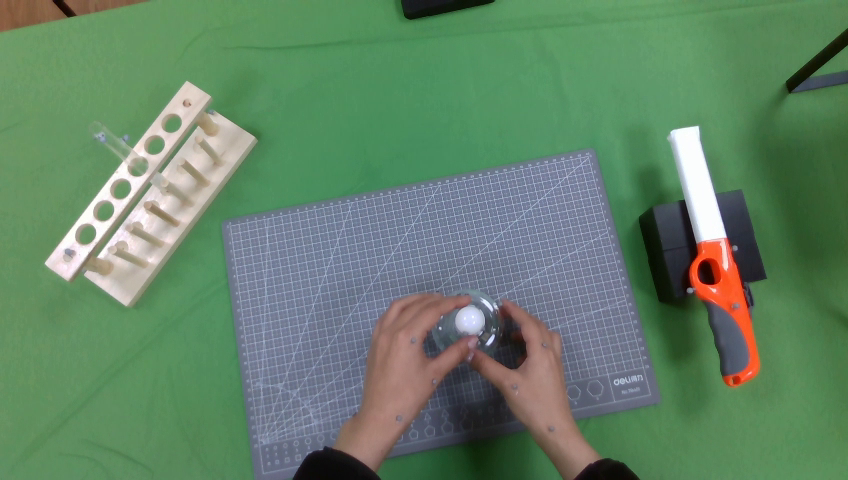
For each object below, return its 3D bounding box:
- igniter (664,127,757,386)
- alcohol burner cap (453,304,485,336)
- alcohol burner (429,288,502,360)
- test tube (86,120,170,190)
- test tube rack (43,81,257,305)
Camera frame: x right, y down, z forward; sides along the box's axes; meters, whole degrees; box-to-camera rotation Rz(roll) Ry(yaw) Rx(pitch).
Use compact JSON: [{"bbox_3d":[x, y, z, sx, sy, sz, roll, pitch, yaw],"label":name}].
[{"bbox_3d":[0.300,0.012,0.637,0.057,0.025,0.275,-8,77,2],"label":"igniter"},{"bbox_3d":[0.044,0.078,0.594,0.034,0.048,0.034,-1,84,5],"label":"alcohol burner cap"},{"bbox_3d":[0.044,0.085,0.629,0.078,0.119,0.077,0,75,0],"label":"alcohol burner"},{"bbox_3d":[-0.305,-0.085,0.636,0.017,0.151,0.017,-1,74,2],"label":"test tube"},{"bbox_3d":[-0.298,-0.049,0.678,0.066,0.085,0.242,33,81,8],"label":"test tube rack"}]
